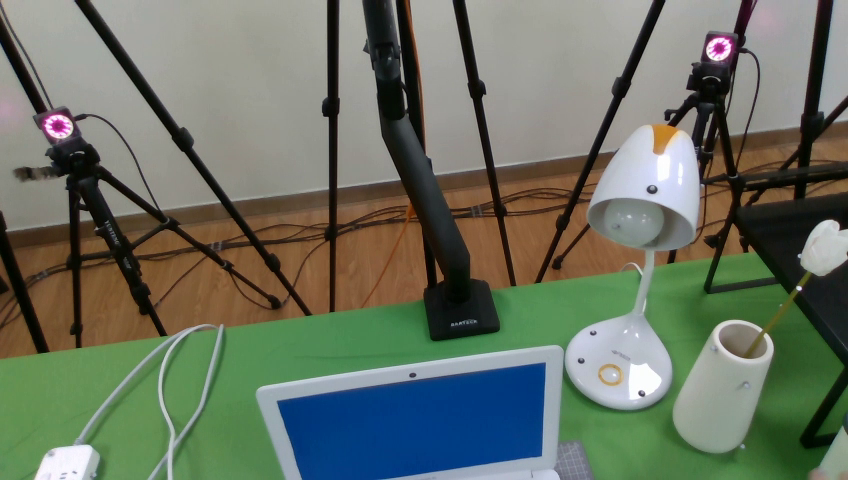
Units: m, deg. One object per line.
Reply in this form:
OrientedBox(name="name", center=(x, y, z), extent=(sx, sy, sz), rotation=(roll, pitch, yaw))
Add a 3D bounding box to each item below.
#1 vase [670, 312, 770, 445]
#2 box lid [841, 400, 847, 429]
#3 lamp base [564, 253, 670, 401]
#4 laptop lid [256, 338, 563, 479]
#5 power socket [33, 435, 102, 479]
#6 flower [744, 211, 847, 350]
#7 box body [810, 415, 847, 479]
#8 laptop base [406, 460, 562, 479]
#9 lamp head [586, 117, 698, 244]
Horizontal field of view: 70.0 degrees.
OrientedBox(name="vase", center=(0.390, 0.184, 0.802), extent=(0.098, 0.202, 0.097), rotation=(-4, 41, 4))
OrientedBox(name="box lid", center=(0.619, 0.292, 0.578), extent=(0.263, 0.015, 0.367), rotation=(-5, 42, -2))
OrientedBox(name="lamp base", center=(0.299, 0.116, 0.900), extent=(0.159, 0.182, 0.178), rotation=(16, 44, 22))
OrientedBox(name="laptop lid", center=(-0.006, 0.226, 0.749), extent=(0.357, 0.244, 0.013), rotation=(-9, 36, -2))
OrientedBox(name="power socket", center=(-0.500, 0.365, 0.810), extent=(0.072, 0.033, 0.224), rotation=(-5, 42, -1))
OrientedBox(name="flower", center=(0.405, 0.122, 0.747), extent=(0.038, 0.364, 0.043), rotation=(11, 33, -6))
OrientedBox(name="box body", center=(0.625, 0.348, 0.627), extent=(0.254, 0.162, 0.360), rotation=(-6, 42, -1))
OrientedBox(name="laptop base", center=(0.017, 0.401, 0.733), extent=(0.354, 0.023, 0.233), rotation=(-7, 46, -3))
OrientedBox(name="lamp head", center=(0.246, -0.069, 0.662), extent=(0.112, 0.113, 0.122), rotation=(14, 63, 20))
